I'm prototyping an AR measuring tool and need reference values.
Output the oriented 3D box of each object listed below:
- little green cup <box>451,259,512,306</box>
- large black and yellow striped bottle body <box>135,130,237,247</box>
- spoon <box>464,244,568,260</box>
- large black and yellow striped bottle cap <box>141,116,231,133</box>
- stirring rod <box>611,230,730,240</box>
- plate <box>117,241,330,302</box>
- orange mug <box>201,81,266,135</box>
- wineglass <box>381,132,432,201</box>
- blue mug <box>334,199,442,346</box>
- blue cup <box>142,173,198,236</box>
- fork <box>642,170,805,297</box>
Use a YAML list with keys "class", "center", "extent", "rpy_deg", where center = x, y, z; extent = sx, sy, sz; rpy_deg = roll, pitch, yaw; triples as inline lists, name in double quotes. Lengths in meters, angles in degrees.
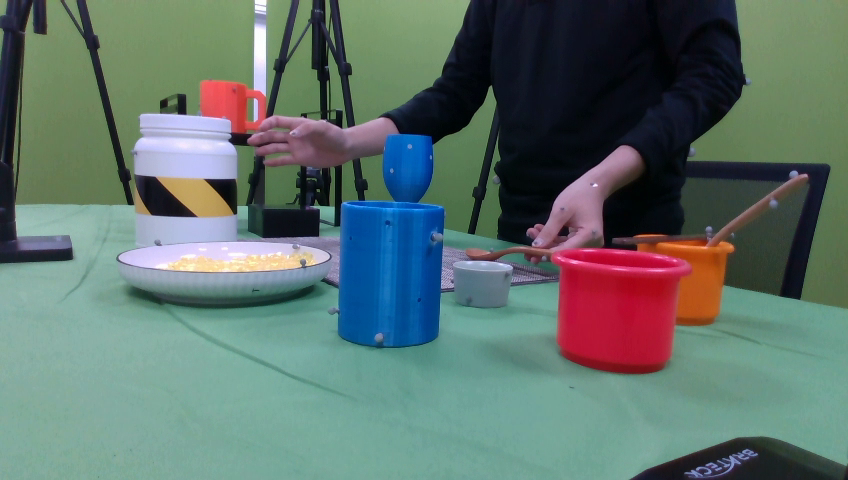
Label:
- class: "little green cup"
  center: [0.057, 0.043, 0.612]
  extent: [0.061, 0.038, 0.061]
  rpy_deg: [3, 7, 0]
- class: "large black and yellow striped bottle body"
  center: [-0.327, -0.074, 0.838]
  extent: [0.131, 0.184, 0.130]
  rpy_deg: [2, 7, 0]
- class: "spoon"
  center: [0.117, 0.014, 0.799]
  extent: [0.042, 0.021, 0.193]
  rpy_deg: [-2, -3, -31]
- class: "large black and yellow striped bottle cap"
  center: [-0.324, -0.157, 0.826]
  extent: [0.115, 0.019, 0.115]
  rpy_deg: [1, 7, 0]
- class: "stirring rod"
  center: [0.241, -0.005, 0.581]
  extent: [0.177, 0.006, 0.014]
  rpy_deg: [-2, 10, -34]
- class: "plate"
  center: [-0.203, 0.031, 0.630]
  extent: [0.209, 0.038, 0.209]
  rpy_deg: [3, 7, 0]
- class: "orange mug"
  center: [-0.376, -0.260, 1.198]
  extent: [0.126, 0.101, 0.083]
  rpy_deg: [-3, 8, -6]
- class: "wineglass"
  center: [-0.026, -0.061, 0.841]
  extent: [0.074, 0.172, 0.073]
  rpy_deg: [2, 8, 0]
- class: "blue mug"
  center: [-0.034, 0.020, 0.498]
  extent: [0.083, 0.106, 0.116]
  rpy_deg: [0, 7, -20]
- class: "blue cup"
  center: [-0.425, -0.060, 1.014]
  extent: [0.093, 0.100, 0.092]
  rpy_deg: [4, 9, 0]
- class: "fork"
  center: [0.261, 0.004, 0.545]
  extent: [0.028, 0.018, 0.207]
  rpy_deg: [6, -38, -15]
